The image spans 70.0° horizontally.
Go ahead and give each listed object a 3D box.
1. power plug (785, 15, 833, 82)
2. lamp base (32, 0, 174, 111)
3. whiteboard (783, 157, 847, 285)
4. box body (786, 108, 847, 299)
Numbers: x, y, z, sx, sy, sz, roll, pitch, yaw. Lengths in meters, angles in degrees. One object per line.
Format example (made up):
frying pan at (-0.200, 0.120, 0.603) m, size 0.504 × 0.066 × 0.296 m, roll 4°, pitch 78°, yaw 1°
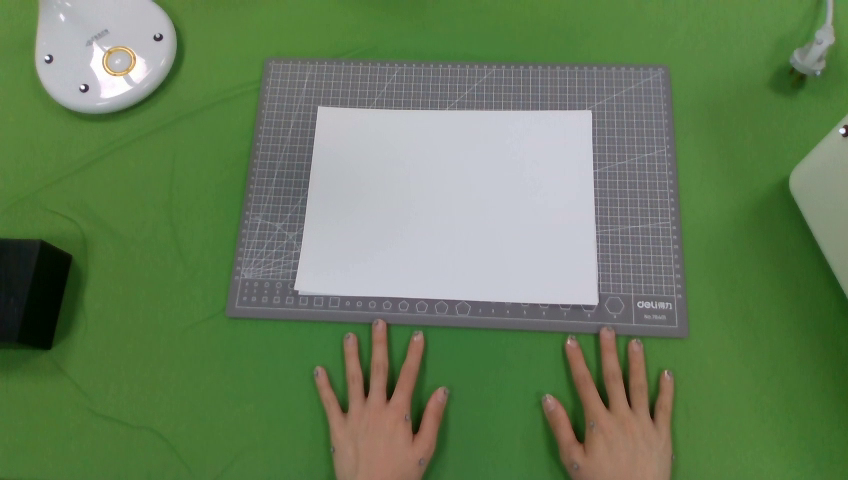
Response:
power plug at (0.413, -0.199, 0.644) m, size 0.072 × 0.053 × 0.035 m, roll -34°, pitch 69°, yaw -30°
lamp base at (-0.381, -0.250, 0.624) m, size 0.178 × 0.181 × 0.160 m, roll 34°, pitch 76°, yaw 16°
whiteboard at (0.517, 0.015, 0.517) m, size 0.217 × 0.144 × 0.303 m, roll -19°, pitch 72°, yaw -6°
box body at (0.517, 0.024, 0.502) m, size 0.254 × 0.161 × 0.361 m, roll -18°, pitch 72°, yaw -3°
